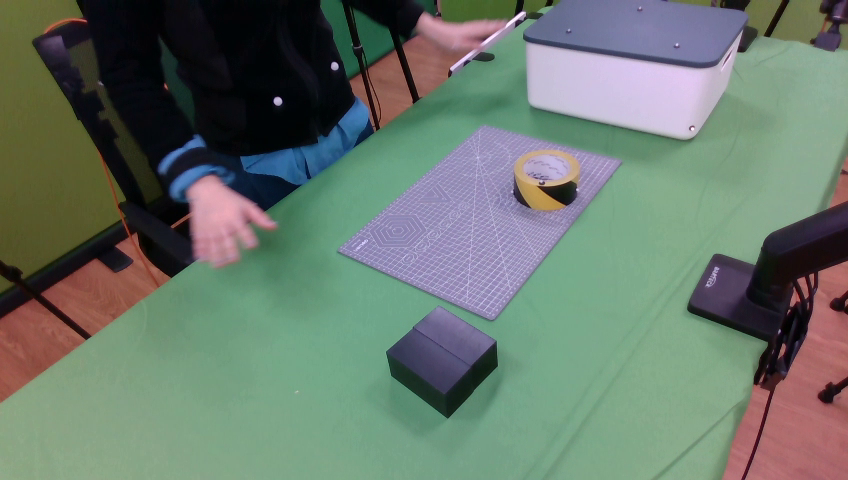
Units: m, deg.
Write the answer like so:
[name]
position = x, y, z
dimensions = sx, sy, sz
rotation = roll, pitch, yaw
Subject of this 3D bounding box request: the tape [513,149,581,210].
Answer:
[tape]
position = 0.208, -0.104, 1.032
dimensions = 0.117, 0.053, 0.116
rotation = -4, 40, 4

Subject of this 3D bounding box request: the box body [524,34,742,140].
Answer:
[box body]
position = 0.412, -0.354, 1.212
dimensions = 0.361, 0.161, 0.254
rotation = 20, 48, 29

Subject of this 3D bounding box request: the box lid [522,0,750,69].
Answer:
[box lid]
position = 0.405, -0.409, 1.162
dimensions = 0.368, 0.015, 0.264
rotation = 20, 47, 29
